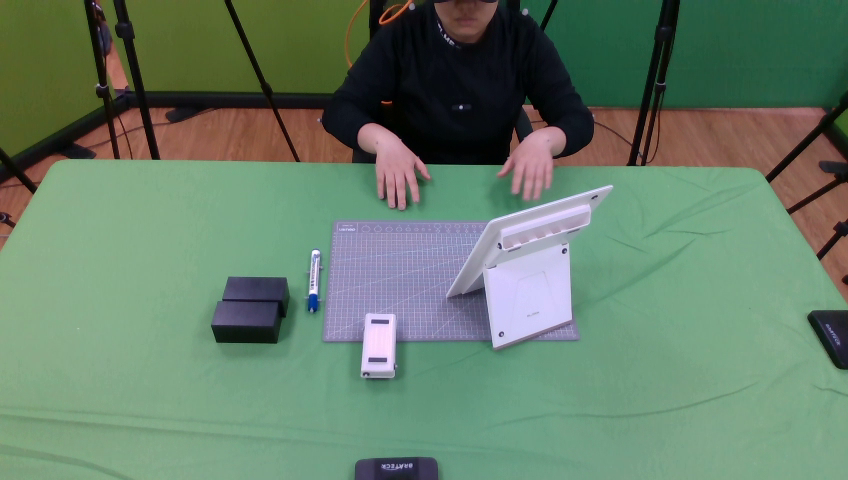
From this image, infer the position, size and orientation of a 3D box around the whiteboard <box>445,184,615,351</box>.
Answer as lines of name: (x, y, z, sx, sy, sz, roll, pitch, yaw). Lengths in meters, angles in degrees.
whiteboard: (0.186, 0.065, 0.989, 0.217, 0.306, 0.143, -15, 68, -18)

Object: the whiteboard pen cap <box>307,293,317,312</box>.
whiteboard pen cap: (-0.199, 0.110, 1.078, 0.018, 0.018, 0.033, -1, 48, -5)

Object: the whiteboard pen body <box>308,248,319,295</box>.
whiteboard pen body: (-0.204, 0.069, 1.119, 0.017, 0.017, 0.140, -1, 46, -5)

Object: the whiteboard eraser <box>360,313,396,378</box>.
whiteboard eraser: (-0.075, 0.176, 1.006, 0.055, 0.042, 0.112, 3, 50, -4)
